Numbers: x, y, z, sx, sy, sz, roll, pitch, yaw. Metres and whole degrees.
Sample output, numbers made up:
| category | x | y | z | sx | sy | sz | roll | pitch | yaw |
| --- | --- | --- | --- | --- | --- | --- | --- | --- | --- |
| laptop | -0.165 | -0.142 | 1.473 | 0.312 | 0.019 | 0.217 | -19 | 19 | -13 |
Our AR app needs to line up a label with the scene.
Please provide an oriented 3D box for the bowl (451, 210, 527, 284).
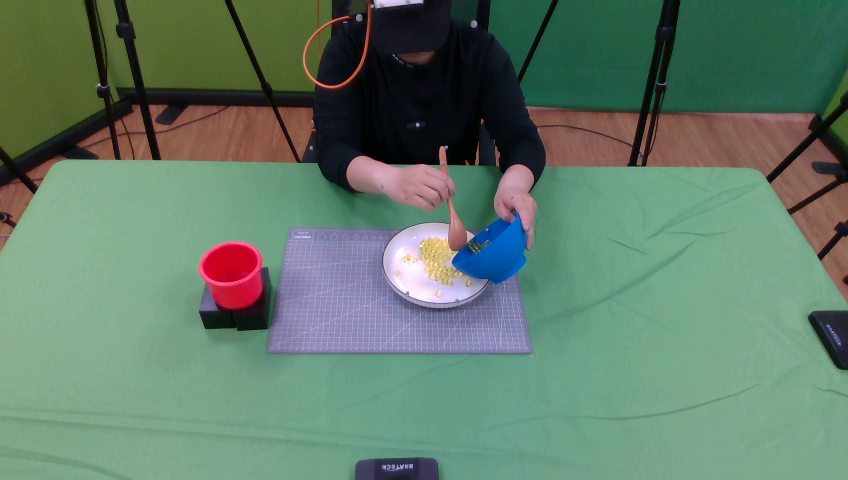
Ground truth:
| category | x | y | z | sx | sy | sz | roll | pitch | yaw |
| --- | --- | --- | --- | --- | --- | --- | --- | --- | --- |
| bowl | 0.130 | 0.024 | 1.072 | 0.077 | 0.151 | 0.151 | 51 | 55 | -7 |

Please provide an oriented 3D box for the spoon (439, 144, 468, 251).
| category | x | y | z | sx | sy | sz | roll | pitch | yaw |
| --- | --- | --- | --- | --- | --- | --- | --- | --- | --- |
| spoon | 0.047 | -0.074 | 1.087 | 0.042 | 0.194 | 0.021 | -15 | 8 | -22 |

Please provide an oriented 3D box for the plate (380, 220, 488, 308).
| category | x | y | z | sx | sy | sz | roll | pitch | yaw |
| --- | --- | --- | --- | --- | --- | --- | --- | --- | --- |
| plate | 0.022 | 0.048 | 1.138 | 0.208 | 0.039 | 0.206 | 2 | 46 | -2 |
